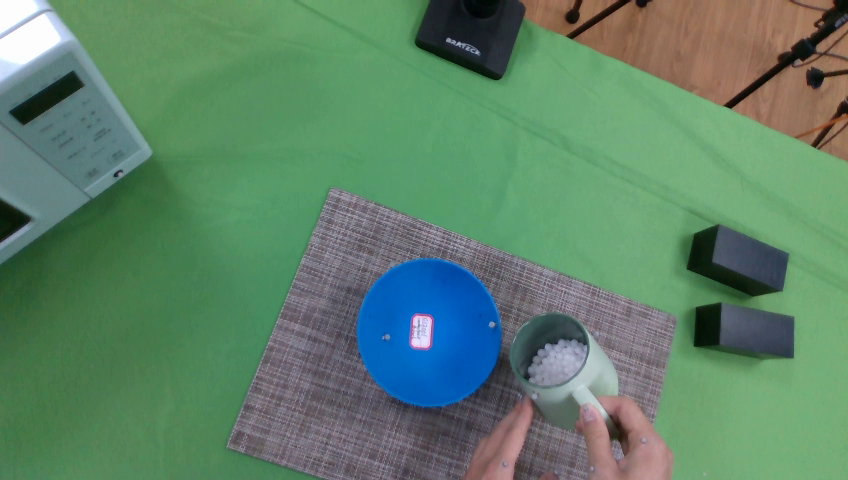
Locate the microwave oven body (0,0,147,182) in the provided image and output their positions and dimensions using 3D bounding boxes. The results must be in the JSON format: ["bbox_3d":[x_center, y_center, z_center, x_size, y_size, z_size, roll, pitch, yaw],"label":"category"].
[{"bbox_3d":[-0.528,-0.105,0.485,0.441,0.260,0.326,-42,89,-16],"label":"microwave oven body"}]

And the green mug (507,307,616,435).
[{"bbox_3d":[0.144,0.136,0.595,0.092,0.106,0.124,-37,47,1],"label":"green mug"}]

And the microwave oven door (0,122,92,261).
[{"bbox_3d":[-0.459,0.029,0.467,0.355,0.244,0.039,-42,88,-16],"label":"microwave oven door"}]

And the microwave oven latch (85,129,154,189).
[{"bbox_3d":[-0.319,-0.088,0.625,0.079,0.029,0.030,-40,89,-16],"label":"microwave oven latch"}]

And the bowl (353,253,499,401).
[{"bbox_3d":[-0.003,0.094,0.646,0.152,0.077,0.150,2,78,-10],"label":"bowl"}]
